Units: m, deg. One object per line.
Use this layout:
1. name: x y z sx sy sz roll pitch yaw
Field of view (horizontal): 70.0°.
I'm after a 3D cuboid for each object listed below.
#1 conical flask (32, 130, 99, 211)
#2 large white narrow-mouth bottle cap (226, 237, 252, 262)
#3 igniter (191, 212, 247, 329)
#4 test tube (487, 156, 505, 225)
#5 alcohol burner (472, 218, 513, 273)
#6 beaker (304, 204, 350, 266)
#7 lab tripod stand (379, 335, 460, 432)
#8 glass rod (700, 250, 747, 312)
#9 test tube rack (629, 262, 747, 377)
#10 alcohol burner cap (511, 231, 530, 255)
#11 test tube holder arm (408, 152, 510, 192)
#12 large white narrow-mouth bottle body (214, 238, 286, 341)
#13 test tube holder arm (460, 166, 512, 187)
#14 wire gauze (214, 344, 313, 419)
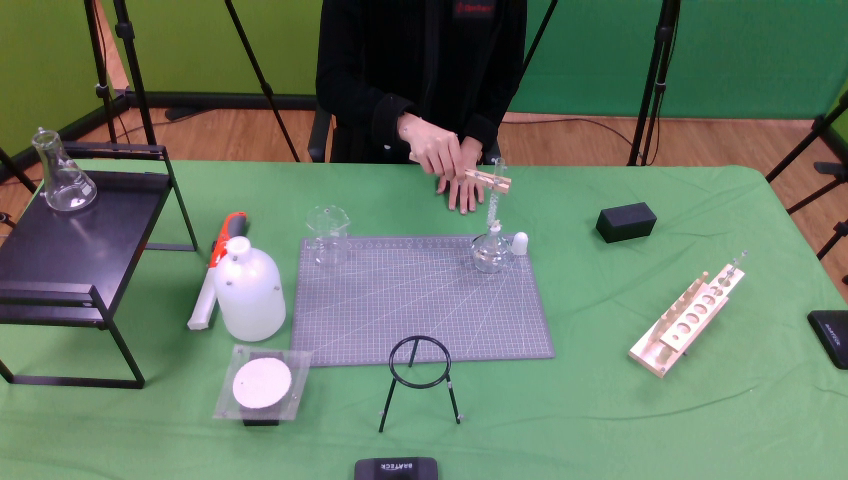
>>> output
1. conical flask: -0.565 -0.111 0.944 0.075 0.122 0.075 2 46 -2
2. large white narrow-mouth bottle cap: -0.282 0.014 0.923 0.038 0.024 0.037 2 46 -2
3. igniter: -0.376 0.047 1.121 0.057 0.025 0.275 -4 46 6
4. test tube: 0.119 -0.078 1.010 0.017 0.151 0.017 1 48 -1
5. alcohol burner: 0.128 0.005 1.132 0.078 0.120 0.077 0 47 0
6. beaker: -0.178 -0.006 1.132 0.084 0.101 0.073 4 46 -1
7. lab tripod stand: -0.011 0.214 0.911 0.148 0.132 0.147 1 45 0
8. glass rod: 0.500 0.075 1.021 0.008 0.201 0.008 0 54 1
9. test tube rack: 0.464 0.126 1.061 0.242 0.085 0.066 -34 56 -30
10. alcohol burner cap: 0.191 0.003 1.187 0.034 0.048 0.033 3 44 -3
11. test tube holder arm: 0.056 -0.114 1.003 0.178 0.015 0.013 19 44 12
12. large white narrow-mouth bottle body: -0.285 0.073 0.986 0.102 0.195 0.101 2 46 -2
13. test tube holder arm: 0.100 -0.105 0.999 0.088 0.015 0.010 14 43 7
14. wire gauze: -0.241 0.213 0.916 0.121 0.011 0.124 5 46 1
